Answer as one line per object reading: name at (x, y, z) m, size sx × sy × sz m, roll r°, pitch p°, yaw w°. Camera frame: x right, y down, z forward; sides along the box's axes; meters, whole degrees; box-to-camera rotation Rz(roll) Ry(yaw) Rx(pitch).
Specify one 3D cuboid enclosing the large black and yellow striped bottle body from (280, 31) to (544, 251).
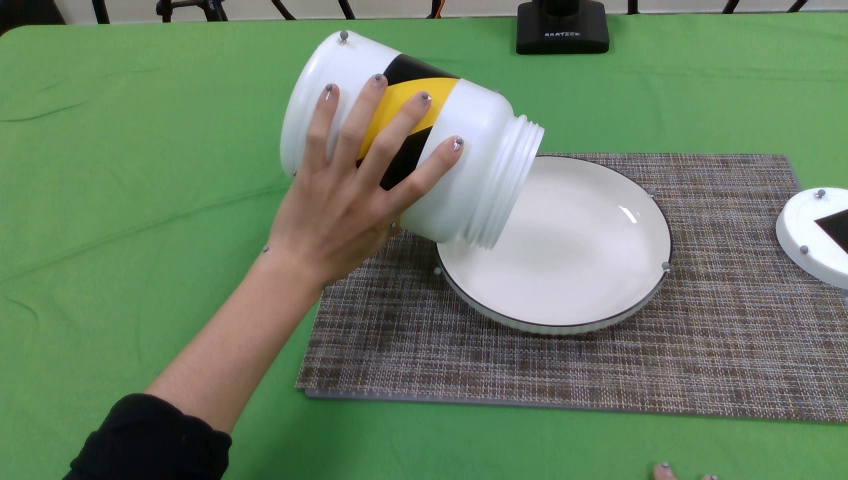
large black and yellow striped bottle body at (-0.007, -0.076, 0.496) m, size 0.184 × 0.131 × 0.130 m, roll 23°, pitch 52°, yaw 3°

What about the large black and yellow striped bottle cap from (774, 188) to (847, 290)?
large black and yellow striped bottle cap at (0.378, -0.003, 0.544) m, size 0.115 × 0.019 × 0.114 m, roll 0°, pitch 49°, yaw 1°

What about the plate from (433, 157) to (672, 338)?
plate at (0.112, 0.005, 0.548) m, size 0.207 × 0.039 × 0.205 m, roll -3°, pitch 47°, yaw 3°
